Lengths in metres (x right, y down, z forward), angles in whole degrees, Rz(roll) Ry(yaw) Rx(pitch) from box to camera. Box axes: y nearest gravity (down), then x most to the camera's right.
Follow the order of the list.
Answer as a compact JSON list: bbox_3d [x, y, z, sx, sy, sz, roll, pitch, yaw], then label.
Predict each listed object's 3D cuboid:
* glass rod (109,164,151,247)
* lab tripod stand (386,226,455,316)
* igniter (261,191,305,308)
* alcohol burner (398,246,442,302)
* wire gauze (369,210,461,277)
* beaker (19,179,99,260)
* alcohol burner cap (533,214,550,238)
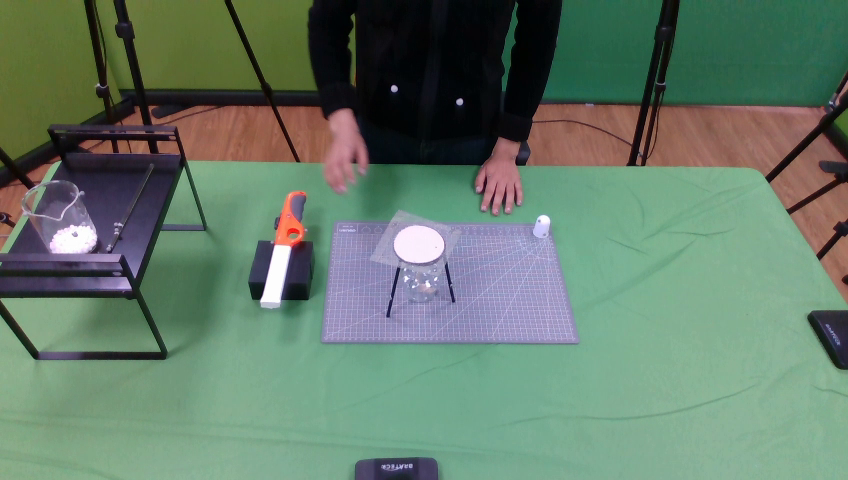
[{"bbox_3d":[-0.473,-0.061,0.979,0.008,0.008,0.198,1,46,-3],"label":"glass rod"},{"bbox_3d":[-0.013,0.054,1.064,0.148,0.132,0.147,2,48,-2],"label":"lab tripod stand"},{"bbox_3d":[-0.255,0.007,1.104,0.057,0.025,0.275,5,47,-4],"label":"igniter"},{"bbox_3d":[-0.006,0.055,1.078,0.078,0.119,0.077,3,44,-3],"label":"alcohol burner"},{"bbox_3d":[-0.013,0.005,1.017,0.121,0.011,0.124,17,49,12],"label":"wire gauze"},{"bbox_3d":[-0.522,-0.024,0.878,0.074,0.101,0.083,-26,54,-25],"label":"beaker"},{"bbox_3d":[0.240,-0.031,1.228,0.034,0.048,0.033,1,46,-1],"label":"alcohol burner cap"}]
